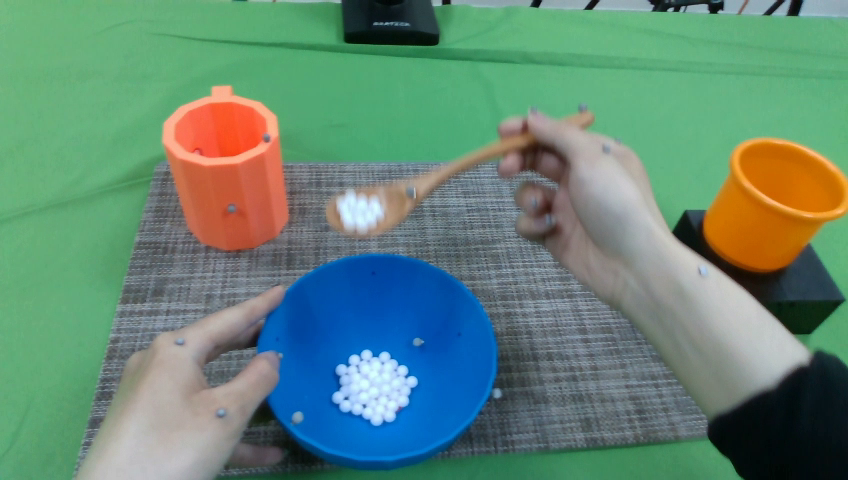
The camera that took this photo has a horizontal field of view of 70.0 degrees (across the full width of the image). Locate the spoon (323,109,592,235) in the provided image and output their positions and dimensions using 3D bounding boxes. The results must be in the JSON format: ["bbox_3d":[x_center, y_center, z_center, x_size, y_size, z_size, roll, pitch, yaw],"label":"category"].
[{"bbox_3d":[0.026,-0.048,0.399,0.194,0.022,0.041,-25,44,-4],"label":"spoon"}]

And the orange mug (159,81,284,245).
[{"bbox_3d":[-0.168,-0.073,0.514,0.084,0.101,0.125,-7,55,-13],"label":"orange mug"}]

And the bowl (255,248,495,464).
[{"bbox_3d":[-0.033,0.086,0.408,0.151,0.077,0.150,4,49,-5],"label":"bowl"}]
